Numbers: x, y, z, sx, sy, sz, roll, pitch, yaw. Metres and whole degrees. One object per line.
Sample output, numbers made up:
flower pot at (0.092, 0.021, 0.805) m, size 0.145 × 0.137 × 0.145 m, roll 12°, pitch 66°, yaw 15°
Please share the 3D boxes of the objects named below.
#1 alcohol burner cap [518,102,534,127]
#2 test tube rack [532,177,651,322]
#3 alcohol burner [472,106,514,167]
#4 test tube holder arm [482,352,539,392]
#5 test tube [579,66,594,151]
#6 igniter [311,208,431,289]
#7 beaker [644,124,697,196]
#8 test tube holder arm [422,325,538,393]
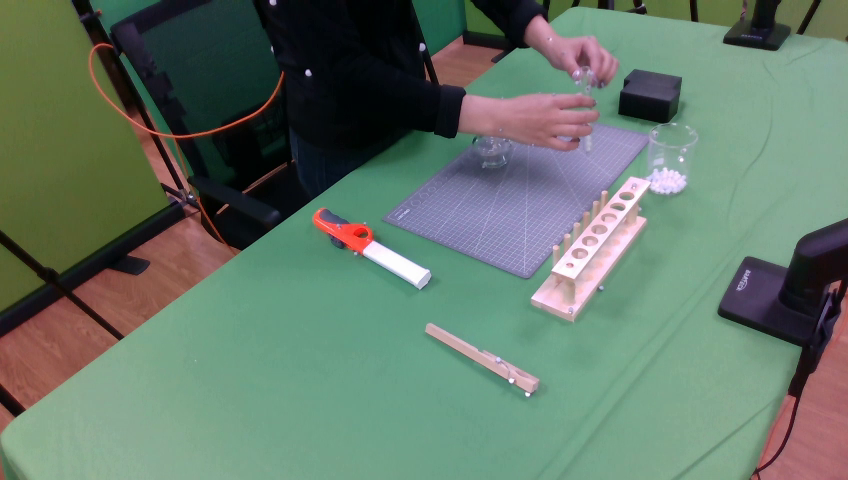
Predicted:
alcohol burner cap at (0.205, -0.255, 1.223) m, size 0.034 × 0.048 × 0.033 m, roll -6°, pitch 41°, yaw 6°
test tube rack at (0.248, 0.003, 0.883) m, size 0.066 × 0.085 × 0.243 m, roll 22°, pitch 49°, yaw 32°
alcohol burner at (0.126, -0.194, 1.111) m, size 0.078 × 0.119 × 0.077 m, roll -4°, pitch 42°, yaw 4°
test tube holder arm at (0.106, 0.167, 0.768) m, size 0.087 × 0.015 × 0.010 m, roll 24°, pitch 13°, yaw 34°
test tube at (0.247, -0.195, 0.919) m, size 0.017 × 0.151 × 0.017 m, roll -9°, pitch 45°, yaw 10°
igniter at (-0.096, 0.008, 0.985) m, size 0.274 × 0.025 × 0.057 m, roll 28°, pitch 63°, yaw 36°
beaker at (0.407, -0.132, 1.001) m, size 0.084 × 0.101 × 0.073 m, roll -20°, pitch 41°, yaw -13°
test tube holder arm at (0.068, 0.152, 0.788) m, size 0.177 × 0.015 × 0.013 m, roll 23°, pitch 13°, yaw 31°
